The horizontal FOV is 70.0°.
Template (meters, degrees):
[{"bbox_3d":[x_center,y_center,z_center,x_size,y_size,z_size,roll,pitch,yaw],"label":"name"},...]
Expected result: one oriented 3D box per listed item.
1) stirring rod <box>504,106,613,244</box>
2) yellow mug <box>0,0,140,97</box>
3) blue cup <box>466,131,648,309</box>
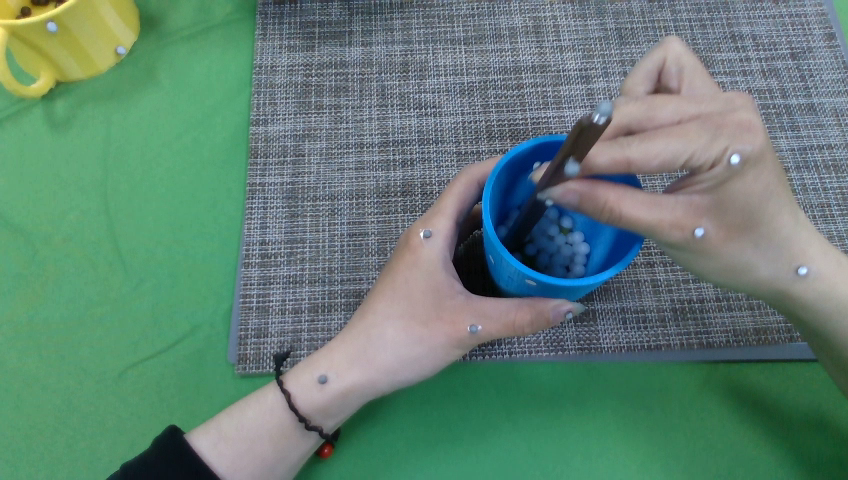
[{"bbox_3d":[0.059,-0.022,0.310,0.014,0.177,0.006,-19,75,-10],"label":"stirring rod"},{"bbox_3d":[-0.278,-0.166,0.443,0.100,0.064,0.130,9,70,4],"label":"yellow mug"},{"bbox_3d":[0.072,-0.001,0.354,0.092,0.101,0.092,0,70,1],"label":"blue cup"}]
